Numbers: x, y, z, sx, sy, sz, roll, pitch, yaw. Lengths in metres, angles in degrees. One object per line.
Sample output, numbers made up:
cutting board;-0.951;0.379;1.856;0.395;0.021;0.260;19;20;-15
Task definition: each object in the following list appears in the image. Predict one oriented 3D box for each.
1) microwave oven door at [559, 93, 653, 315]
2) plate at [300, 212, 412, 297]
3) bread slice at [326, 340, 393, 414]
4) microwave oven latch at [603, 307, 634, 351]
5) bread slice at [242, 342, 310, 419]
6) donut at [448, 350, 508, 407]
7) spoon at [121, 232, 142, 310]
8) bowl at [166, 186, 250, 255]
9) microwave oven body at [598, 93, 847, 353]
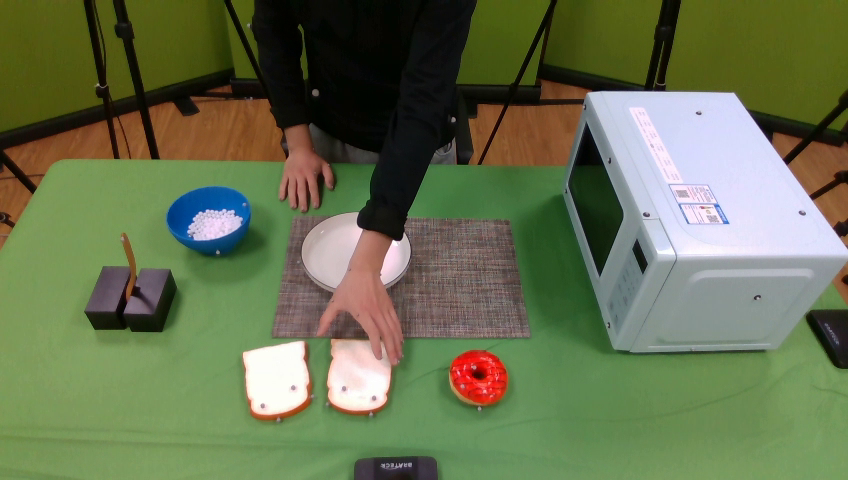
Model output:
microwave oven door;0.327;-0.074;1.123;0.039;0.245;0.353;-1;46;-5
plate;-0.127;0.031;1.145;0.208;0.039;0.206;3;45;-2
bread slice;-0.104;0.219;0.983;0.107;0.018;0.133;0;45;-4
microwave oven latch;0.332;0.153;1.044;0.030;0.029;0.078;0;45;-4
bread slice;-0.234;0.223;0.970;0.105;0.019;0.130;-10;47;-13
donut;0.087;0.223;0.977;0.099;0.048;0.098;4;46;-4
spoon;-0.479;0.051;0.994;0.022;0.194;0.041;13;46;-11
bowl;-0.403;-0.024;1.154;0.151;0.077;0.150;2;45;-2
microwave oven body;0.475;-0.041;1.109;0.326;0.261;0.438;-1;45;-4
